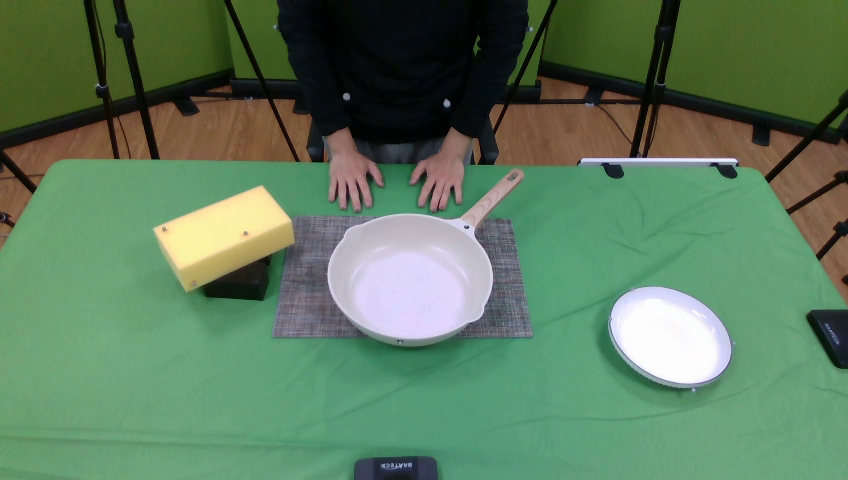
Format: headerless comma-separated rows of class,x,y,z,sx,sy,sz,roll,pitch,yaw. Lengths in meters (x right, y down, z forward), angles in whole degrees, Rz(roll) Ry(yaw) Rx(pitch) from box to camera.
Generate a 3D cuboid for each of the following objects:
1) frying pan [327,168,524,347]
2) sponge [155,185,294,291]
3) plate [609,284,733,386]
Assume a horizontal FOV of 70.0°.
frying pan,0.042,0.009,1.132,0.305,0.103,0.487,34,61,24
sponge,-0.354,-0.008,1.085,0.207,0.061,0.117,-28,54,-27
plate,0.425,0.167,1.059,0.208,0.039,0.206,2,46,-2
